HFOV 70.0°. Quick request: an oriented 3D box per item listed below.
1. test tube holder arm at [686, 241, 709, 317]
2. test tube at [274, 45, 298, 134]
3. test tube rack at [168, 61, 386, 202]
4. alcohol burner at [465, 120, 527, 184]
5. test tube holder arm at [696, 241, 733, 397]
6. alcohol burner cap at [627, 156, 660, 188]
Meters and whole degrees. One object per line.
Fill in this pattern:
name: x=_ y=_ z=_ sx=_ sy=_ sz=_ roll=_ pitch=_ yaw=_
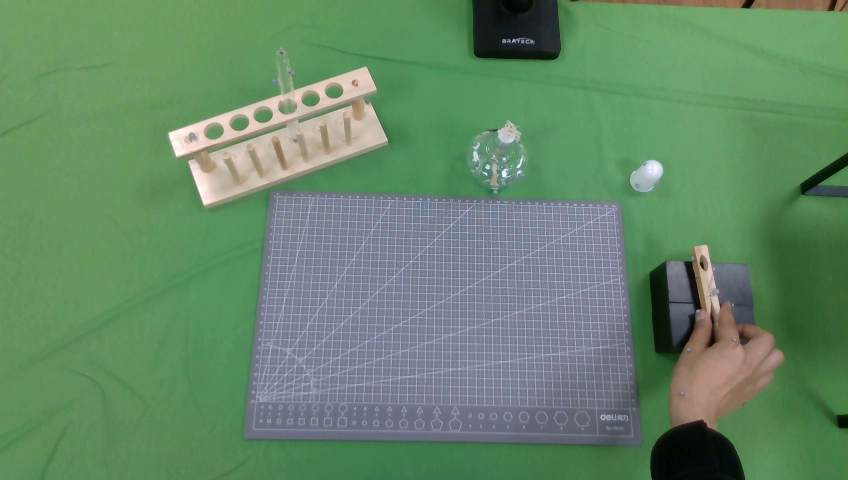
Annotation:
test tube holder arm: x=0.318 y=0.045 z=0.701 sx=0.010 sy=0.015 sz=0.087 roll=-6 pitch=76 yaw=4
test tube: x=-0.159 y=-0.169 z=0.703 sx=0.017 sy=0.151 sz=0.017 roll=3 pitch=65 yaw=-6
test tube rack: x=-0.172 y=-0.131 z=0.743 sx=0.242 sy=0.085 sz=0.066 roll=-22 pitch=74 yaw=-10
alcohol burner: x=0.091 y=-0.115 z=0.739 sx=0.078 sy=0.119 sz=0.077 roll=1 pitch=73 yaw=-4
test tube holder arm: x=0.328 y=0.088 z=0.690 sx=0.013 sy=0.015 sz=0.177 roll=-7 pitch=76 yaw=3
alcohol burner cap: x=0.285 y=-0.090 z=0.780 sx=0.034 sy=0.048 sz=0.033 roll=1 pitch=72 yaw=-2
